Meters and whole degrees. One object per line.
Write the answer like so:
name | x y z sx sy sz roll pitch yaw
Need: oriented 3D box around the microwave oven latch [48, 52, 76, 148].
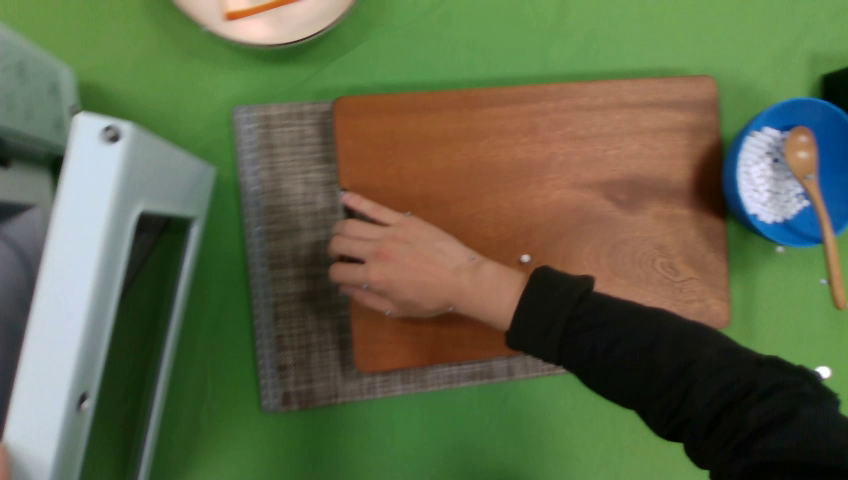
microwave oven latch | -0.330 -0.123 0.535 0.030 0.029 0.079 -7 94 -9

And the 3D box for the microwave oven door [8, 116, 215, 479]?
microwave oven door | -0.233 0.099 0.457 0.039 0.243 0.355 11 90 -8

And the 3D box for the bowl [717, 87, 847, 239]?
bowl | 0.368 -0.077 0.637 0.152 0.076 0.151 0 93 -9

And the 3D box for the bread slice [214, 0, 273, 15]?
bread slice | -0.169 -0.290 0.572 0.105 0.019 0.132 -20 96 -9

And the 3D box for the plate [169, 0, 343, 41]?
plate | -0.161 -0.290 0.572 0.208 0.039 0.207 0 92 -8

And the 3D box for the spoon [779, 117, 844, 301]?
spoon | 0.396 -0.034 0.613 0.042 0.021 0.192 0 72 -19

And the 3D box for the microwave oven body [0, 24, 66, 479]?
microwave oven body | -0.440 0.074 0.430 0.326 0.259 0.442 -8 94 -9
